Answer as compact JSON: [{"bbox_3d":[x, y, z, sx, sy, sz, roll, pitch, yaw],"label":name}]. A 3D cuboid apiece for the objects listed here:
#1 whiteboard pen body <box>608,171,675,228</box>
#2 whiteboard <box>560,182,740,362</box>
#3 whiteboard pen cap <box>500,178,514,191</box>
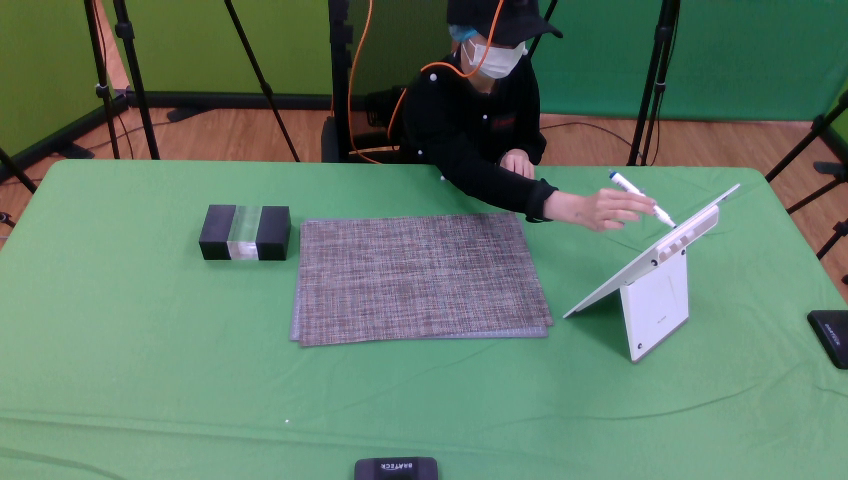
[{"bbox_3d":[0.361,-0.065,1.001,0.140,0.017,0.017,43,55,11],"label":"whiteboard pen body"},{"bbox_3d":[0.406,0.075,1.001,0.217,0.306,0.143,-28,73,-28],"label":"whiteboard"},{"bbox_3d":[0.179,-0.121,1.316,0.033,0.018,0.018,-34,57,-27],"label":"whiteboard pen cap"}]
